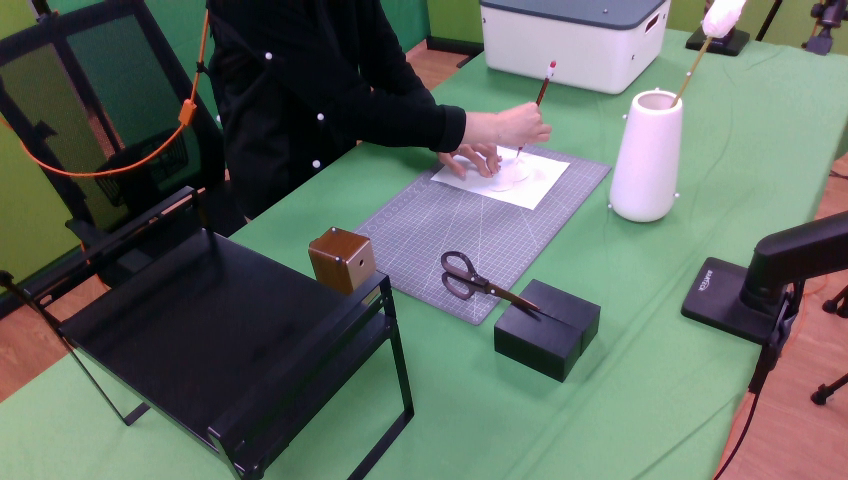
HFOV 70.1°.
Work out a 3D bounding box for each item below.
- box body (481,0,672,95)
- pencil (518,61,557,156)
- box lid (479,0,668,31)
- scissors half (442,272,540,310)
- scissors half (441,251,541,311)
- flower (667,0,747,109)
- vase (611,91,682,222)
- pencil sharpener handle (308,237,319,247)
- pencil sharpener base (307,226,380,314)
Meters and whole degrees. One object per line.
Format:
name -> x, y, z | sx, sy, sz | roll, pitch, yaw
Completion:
box body -> 0.341, -0.480, 1.381 | 0.361, 0.161, 0.255 | 22, 48, 30
pencil -> 0.199, -0.230, 1.083 | 0.012, 0.194, 0.012 | 10, 41, -8
box lid -> 0.335, -0.536, 1.331 | 0.368, 0.015, 0.264 | 23, 49, 30
scissors half -> 0.089, 0.074, 0.833 | 0.013, 0.040, 0.173 | -24, 23, -38
scissors half -> 0.087, 0.056, 0.824 | 0.173, 0.040, 0.013 | 29, 44, 36
flower -> 0.354, -0.187, 0.879 | 0.038, 0.362, 0.044 | 30, 48, 14
vase -> 0.348, -0.125, 0.935 | 0.098, 0.201, 0.097 | -3, 40, 3
pencil sharpener handle -> -0.159, 0.017, 0.892 | 0.030, 0.068, 0.036 | 18, 61, 28
pencil sharpener base -> -0.116, 0.043, 0.875 | 0.076, 0.107, 0.061 | 18, 47, 27
